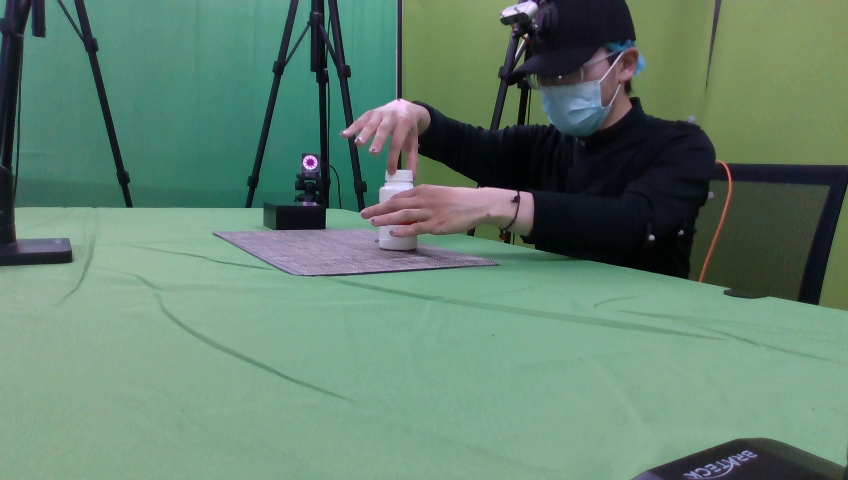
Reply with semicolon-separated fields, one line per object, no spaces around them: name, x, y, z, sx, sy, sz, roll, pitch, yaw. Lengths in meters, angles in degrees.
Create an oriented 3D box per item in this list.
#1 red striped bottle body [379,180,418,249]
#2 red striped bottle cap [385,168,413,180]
red striped bottle body;-0.041;-0.048;0.963;0.063;0.119;0.063;0;6;0
red striped bottle cap;-0.040;-0.104;0.957;0.044;0.017;0.044;-1;8;0
